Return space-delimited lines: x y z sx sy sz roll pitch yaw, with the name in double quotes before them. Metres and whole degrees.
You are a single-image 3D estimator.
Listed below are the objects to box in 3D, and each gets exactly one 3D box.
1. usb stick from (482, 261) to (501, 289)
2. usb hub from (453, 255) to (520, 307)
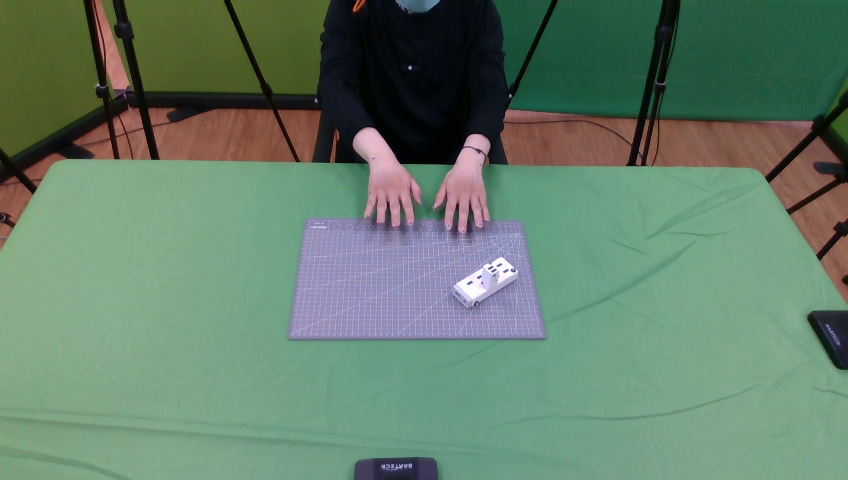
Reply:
"usb stick" 0.120 0.068 1.090 0.021 0.059 0.027 -30 57 -28
"usb hub" 0.117 0.076 1.122 0.125 0.025 0.049 -28 55 -26
